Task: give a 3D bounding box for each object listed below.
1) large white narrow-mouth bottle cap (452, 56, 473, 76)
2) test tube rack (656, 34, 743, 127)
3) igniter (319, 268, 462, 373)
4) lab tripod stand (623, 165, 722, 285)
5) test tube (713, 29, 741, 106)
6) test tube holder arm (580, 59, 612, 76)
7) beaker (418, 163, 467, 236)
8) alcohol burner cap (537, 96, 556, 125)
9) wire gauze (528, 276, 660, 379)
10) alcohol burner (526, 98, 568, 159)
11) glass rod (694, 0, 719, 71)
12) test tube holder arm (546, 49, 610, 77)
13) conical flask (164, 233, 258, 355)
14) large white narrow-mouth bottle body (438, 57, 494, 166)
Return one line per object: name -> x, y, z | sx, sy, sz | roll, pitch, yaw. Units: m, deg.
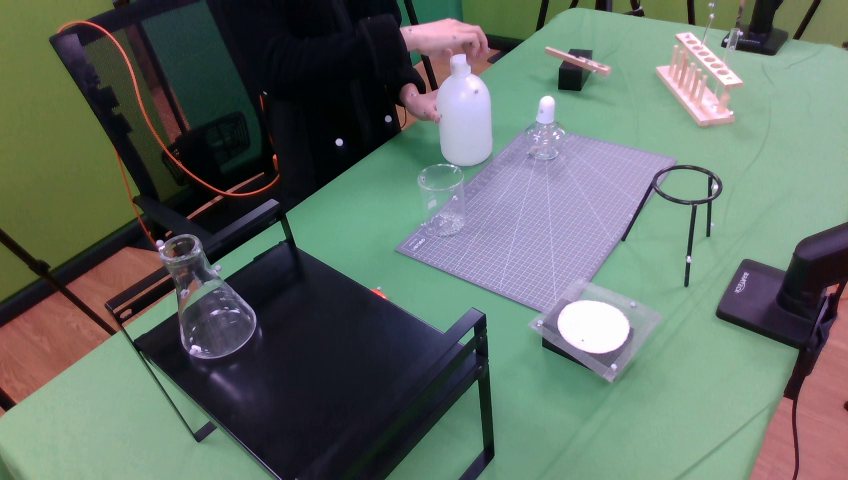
large white narrow-mouth bottle cap -> 0.068, -0.307, 1.066 | 0.038, 0.024, 0.037 | -4, 40, 4
test tube rack -> 0.553, -0.330, 1.233 | 0.067, 0.085, 0.241 | -7, 40, 2
igniter -> -0.059, 0.107, 0.862 | 0.274, 0.025, 0.057 | 28, 62, 34
lab tripod stand -> 0.365, -0.030, 0.874 | 0.148, 0.132, 0.147 | -6, 41, 6
test tube -> 0.572, -0.324, 1.146 | 0.017, 0.151, 0.017 | -3, 39, 3
test tube holder arm -> 0.363, -0.369, 1.288 | 0.010, 0.015, 0.087 | -27, 43, -29
beaker -> 0.035, -0.065, 0.990 | 0.073, 0.101, 0.084 | 24, 49, 32
alcohol burner cap -> 0.223, -0.237, 1.095 | 0.034, 0.048, 0.033 | -1, 42, 1
wire gauze -> 0.213, 0.103, 0.763 | 0.124, 0.011, 0.122 | 30, 52, 35
alcohol burner -> 0.228, -0.210, 1.118 | 0.078, 0.119, 0.077 | -5, 43, 5
glass rod -> 0.560, -0.401, 1.214 | 0.008, 0.200, 0.008 | -1, 48, 2
test tube holder arm -> 0.332, -0.387, 1.315 | 0.013, 0.015, 0.177 | -26, 43, -28
conical flask -> -0.216, 0.051, 0.601 | 0.075, 0.122, 0.075 | -4, 40, 4
large white narrow-mouth bottle body -> 0.077, -0.242, 1.122 | 0.102, 0.195, 0.101 | -4, 40, 4
